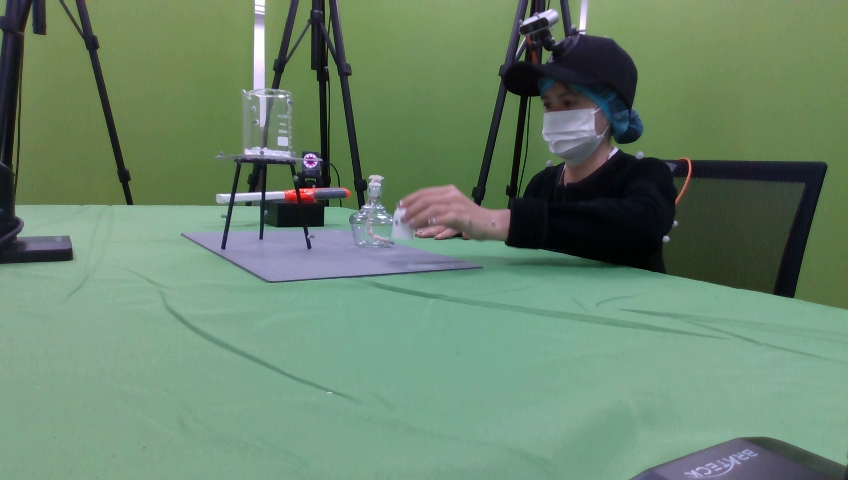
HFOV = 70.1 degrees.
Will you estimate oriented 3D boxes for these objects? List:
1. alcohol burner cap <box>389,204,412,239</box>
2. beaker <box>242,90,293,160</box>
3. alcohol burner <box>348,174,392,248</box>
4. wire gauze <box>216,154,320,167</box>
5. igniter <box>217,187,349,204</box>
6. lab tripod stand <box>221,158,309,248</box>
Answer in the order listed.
[{"bbox_3d":[-0.032,-0.027,0.848,0.034,0.048,0.034,5,6,0],"label":"alcohol burner cap"},{"bbox_3d":[-0.235,-0.169,0.900,0.074,0.100,0.084,4,7,23],"label":"beaker"},{"bbox_3d":[-0.083,-0.046,0.973,0.078,0.119,0.078,4,6,0],"label":"alcohol burner"},{"bbox_3d":[-0.236,-0.121,0.906,0.126,0.011,0.121,0,8,-33],"label":"wire gauze"},{"bbox_3d":[-0.285,-0.093,1.256,0.278,0.025,0.057,-6,12,-34],"label":"igniter"},{"bbox_3d":[-0.244,-0.057,0.917,0.148,0.131,0.148,1,7,0],"label":"lab tripod stand"}]
